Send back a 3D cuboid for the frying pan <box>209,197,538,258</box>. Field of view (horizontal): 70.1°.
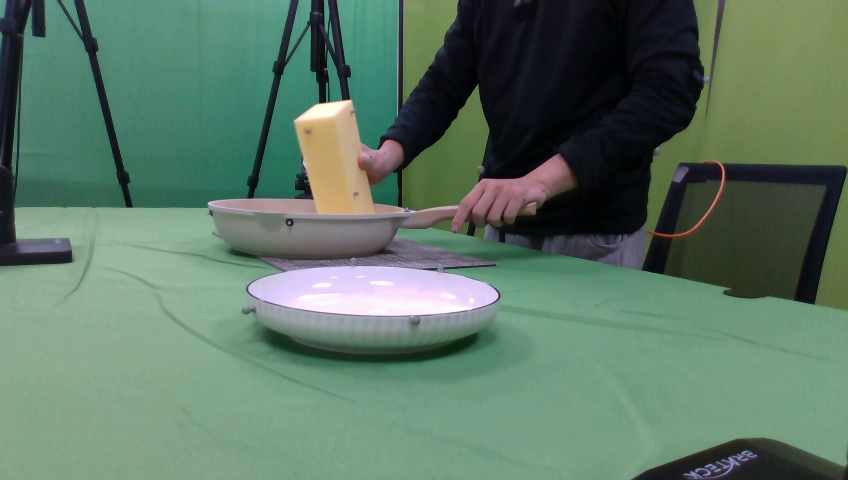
[{"bbox_3d":[-0.075,-0.034,0.913,0.487,0.102,0.307,-5,7,11],"label":"frying pan"}]

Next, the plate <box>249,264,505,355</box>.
[{"bbox_3d":[-0.038,0.056,0.504,0.208,0.039,0.207,2,7,0],"label":"plate"}]

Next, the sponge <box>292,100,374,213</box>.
[{"bbox_3d":[-0.136,-0.105,0.950,0.061,0.207,0.118,-7,25,9],"label":"sponge"}]
